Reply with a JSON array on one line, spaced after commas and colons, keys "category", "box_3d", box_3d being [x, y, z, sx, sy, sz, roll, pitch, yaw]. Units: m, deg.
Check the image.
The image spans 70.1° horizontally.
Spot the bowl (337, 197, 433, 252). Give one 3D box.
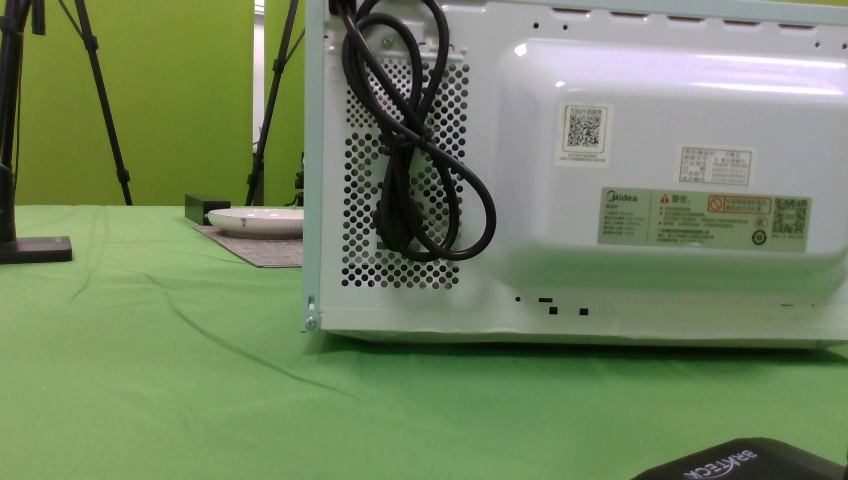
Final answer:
[{"category": "bowl", "box_3d": [-0.062, -0.025, 0.955, 0.151, 0.077, 0.151, 3, 8, 0]}]

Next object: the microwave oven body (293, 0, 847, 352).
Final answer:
[{"category": "microwave oven body", "box_3d": [0.122, -0.055, 0.550, 0.442, 0.260, 0.325, 3, 7, -5]}]

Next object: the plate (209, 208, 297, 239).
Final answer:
[{"category": "plate", "box_3d": [-0.271, -0.029, 1.074, 0.208, 0.039, 0.207, 3, 7, 0]}]

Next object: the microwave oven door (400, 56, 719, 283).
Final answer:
[{"category": "microwave oven door", "box_3d": [0.155, -0.078, 0.698, 0.356, 0.243, 0.039, 2, 8, -5]}]

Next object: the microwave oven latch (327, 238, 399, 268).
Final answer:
[{"category": "microwave oven latch", "box_3d": [-0.069, 0.015, 0.694, 0.079, 0.029, 0.030, 3, 7, -3]}]
